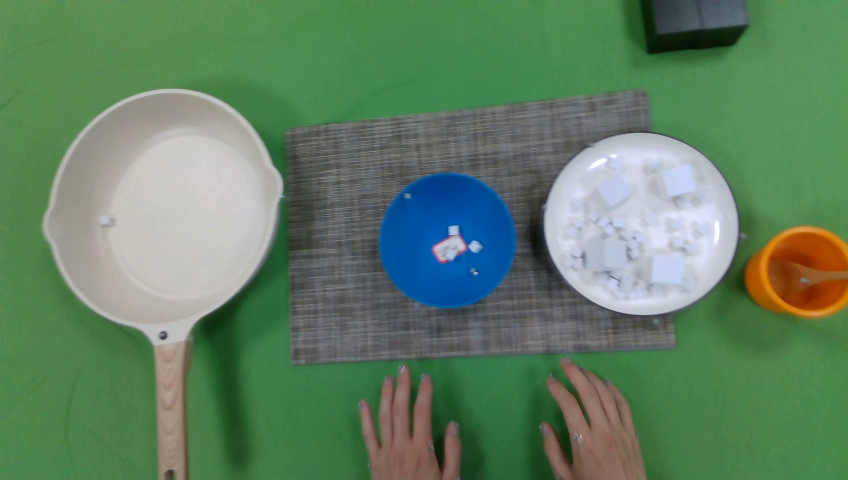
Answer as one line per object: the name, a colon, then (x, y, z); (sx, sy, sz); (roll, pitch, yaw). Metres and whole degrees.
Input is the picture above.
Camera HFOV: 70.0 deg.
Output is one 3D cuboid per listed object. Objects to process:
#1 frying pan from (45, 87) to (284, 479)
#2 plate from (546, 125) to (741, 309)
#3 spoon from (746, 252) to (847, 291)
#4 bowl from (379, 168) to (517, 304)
frying pan: (-0.299, 0.058, 0.722); (0.306, 0.103, 0.484); (-9, 73, 8)
plate: (0.243, -0.025, 0.685); (0.207, 0.039, 0.207); (-1, 82, 8)
spoon: (0.421, 0.028, 0.599); (0.022, 0.193, 0.041); (7, 81, -35)
bowl: (0.031, 0.000, 0.691); (0.151, 0.077, 0.151); (-1, 82, 8)
